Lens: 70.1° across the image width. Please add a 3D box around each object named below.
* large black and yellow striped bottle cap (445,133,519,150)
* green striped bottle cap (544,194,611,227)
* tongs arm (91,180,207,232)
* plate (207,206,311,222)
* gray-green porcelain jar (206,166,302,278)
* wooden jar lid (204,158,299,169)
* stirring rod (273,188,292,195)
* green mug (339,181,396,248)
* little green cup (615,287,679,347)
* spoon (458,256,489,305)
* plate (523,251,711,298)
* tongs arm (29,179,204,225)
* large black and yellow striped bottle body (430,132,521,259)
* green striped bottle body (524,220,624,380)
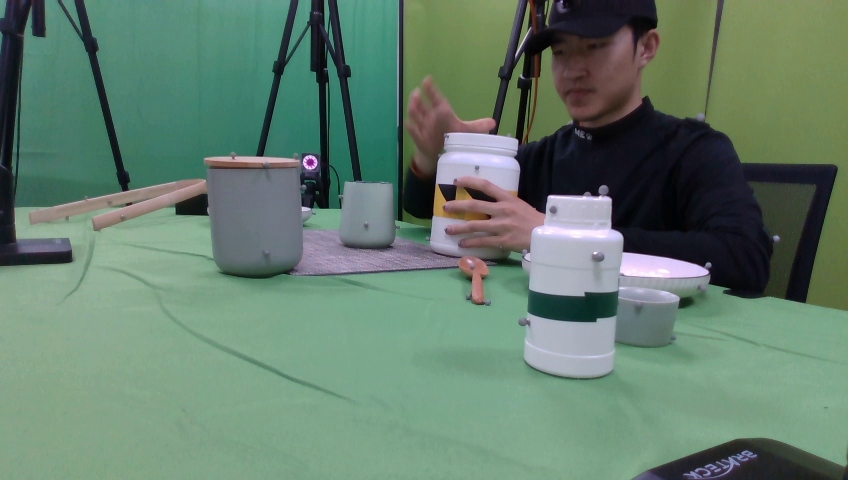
[{"bbox_3d":[0.089,-0.150,0.930,0.115,0.019,0.115,4,5,0],"label":"large black and yellow striped bottle cap"},{"bbox_3d":[0.105,-0.020,0.415,0.044,0.020,0.044,2,5,0],"label":"green striped bottle cap"},{"bbox_3d":[-0.534,-0.076,1.221,0.028,0.028,0.388,-2,15,12],"label":"tongs arm"},{"bbox_3d":[-0.342,-0.050,1.259,0.208,0.039,0.207,3,8,0],"label":"plate"},{"bbox_3d":[-0.201,-0.024,0.724,0.106,0.126,0.106,-1,9,1],"label":"gray-green porcelain jar"},{"bbox_3d":[-0.203,-0.086,0.714,0.108,0.020,0.108,3,11,0],"label":"wooden jar lid"},{"bbox_3d":[-0.354,-0.122,1.518,0.006,0.014,0.176,2,6,1],"label":"stirring rod"},{"bbox_3d":[-0.097,-0.044,0.995,0.093,0.105,0.125,-1,8,-21],"label":"green mug"},{"bbox_3d":[0.180,0.064,0.506,0.061,0.038,0.061,1,8,0],"label":"little green cup"},{"bbox_3d":[0.059,0.044,0.695,0.041,0.021,0.194,19,7,0],"label":"spoon"},{"bbox_3d":[0.219,0.041,0.706,0.209,0.038,0.209,2,7,0],"label":"plate"},{"bbox_3d":[-0.609,-0.083,1.245,0.050,0.026,0.386,5,16,23],"label":"tongs arm"},{"bbox_3d":[0.081,-0.068,0.939,0.131,0.184,0.130,5,5,0],"label":"large black and yellow striped bottle body"},{"bbox_3d":[0.104,0.031,0.421,0.063,0.119,0.063,2,8,0],"label":"green striped bottle body"}]
